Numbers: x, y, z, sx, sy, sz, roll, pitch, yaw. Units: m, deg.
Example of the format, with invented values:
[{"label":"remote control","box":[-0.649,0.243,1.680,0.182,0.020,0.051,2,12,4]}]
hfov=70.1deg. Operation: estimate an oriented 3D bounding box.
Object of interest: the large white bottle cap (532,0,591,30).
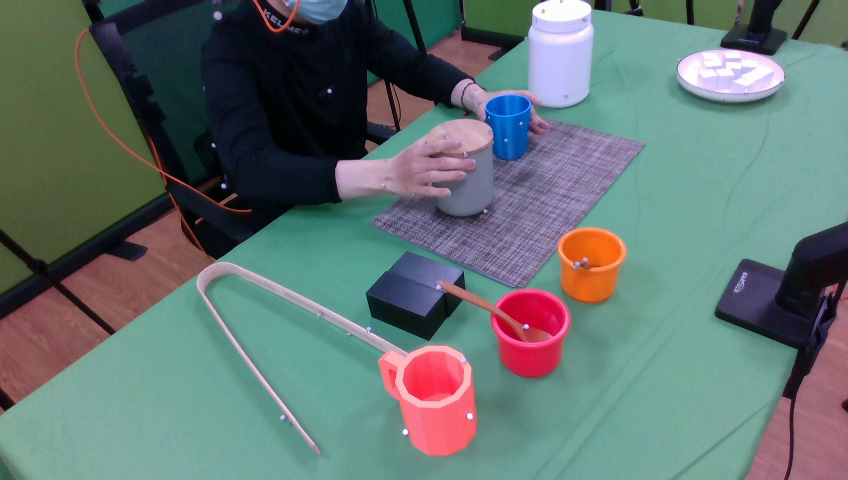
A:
[{"label":"large white bottle cap","box":[0.274,-0.449,1.204,0.115,0.018,0.114,-4,41,4]}]

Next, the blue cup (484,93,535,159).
[{"label":"blue cup","box":[0.158,-0.208,1.129,0.092,0.100,0.092,-5,40,4]}]

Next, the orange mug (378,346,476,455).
[{"label":"orange mug","box":[0.002,0.179,0.708,0.125,0.101,0.083,25,50,26]}]

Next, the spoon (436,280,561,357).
[{"label":"spoon","box":[0.096,0.095,0.757,0.195,0.021,0.041,34,41,-20]}]

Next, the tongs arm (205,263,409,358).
[{"label":"tongs arm","box":[-0.179,0.107,0.870,0.382,0.027,0.051,23,54,32]}]

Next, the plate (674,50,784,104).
[{"label":"plate","box":[0.631,-0.336,1.262,0.207,0.039,0.206,-4,41,4]}]

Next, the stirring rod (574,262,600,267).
[{"label":"stirring rod","box":[0.221,0.033,0.816,0.014,0.006,0.177,6,0,22]}]

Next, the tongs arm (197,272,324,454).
[{"label":"tongs arm","box":[-0.236,0.155,0.830,0.028,0.028,0.384,-37,48,-18]}]

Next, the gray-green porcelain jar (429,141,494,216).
[{"label":"gray-green porcelain jar","box":[0.064,-0.112,1.009,0.106,0.127,0.105,-4,38,3]}]

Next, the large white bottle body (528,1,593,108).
[{"label":"large white bottle body","box":[0.282,-0.386,1.259,0.130,0.185,0.130,-5,41,5]}]

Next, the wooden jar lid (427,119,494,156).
[{"label":"wooden jar lid","box":[0.059,-0.161,0.972,0.108,0.021,0.108,-4,40,3]}]
